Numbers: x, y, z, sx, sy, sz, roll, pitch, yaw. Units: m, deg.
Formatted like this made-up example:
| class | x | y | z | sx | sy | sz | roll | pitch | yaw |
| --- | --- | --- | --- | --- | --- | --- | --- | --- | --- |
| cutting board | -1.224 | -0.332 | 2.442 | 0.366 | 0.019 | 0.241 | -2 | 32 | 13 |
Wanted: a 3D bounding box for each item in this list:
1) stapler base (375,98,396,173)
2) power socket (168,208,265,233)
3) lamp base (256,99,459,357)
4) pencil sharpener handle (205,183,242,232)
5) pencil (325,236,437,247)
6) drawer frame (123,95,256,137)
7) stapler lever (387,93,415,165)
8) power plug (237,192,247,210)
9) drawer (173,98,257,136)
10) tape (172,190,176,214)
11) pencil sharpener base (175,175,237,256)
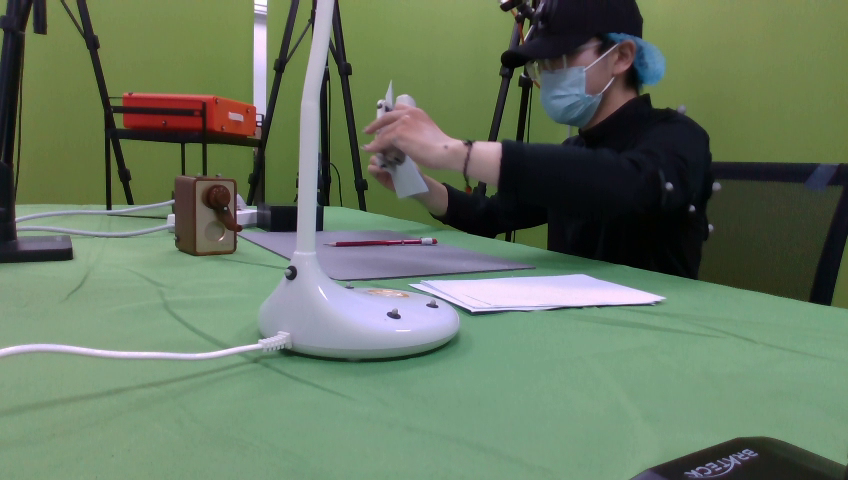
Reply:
| class | x | y | z | sx | sy | sz | roll | pitch | yaw |
| --- | --- | --- | --- | --- | --- | --- | --- | --- | --- |
| stapler base | -0.055 | -0.173 | 0.967 | 0.024 | 0.130 | 0.041 | -20 | -32 | 38 |
| power socket | -0.381 | -0.038 | 1.129 | 0.072 | 0.032 | 0.227 | 4 | 8 | 17 |
| lamp base | -0.055 | -0.013 | 0.463 | 0.160 | 0.180 | 0.180 | 6 | 11 | 27 |
| pencil sharpener handle | -0.265 | -0.043 | 0.812 | 0.036 | 0.068 | 0.030 | -32 | 28 | -35 |
| pencil | -0.066 | 0.003 | 0.979 | 0.195 | 0.012 | 0.012 | -3 | 9 | -25 |
| drawer frame | -0.524 | -0.281 | 1.376 | 0.213 | 0.082 | 0.202 | 3 | 8 | 8 |
| stapler lever | -0.035 | -0.178 | 0.952 | 0.040 | 0.118 | 0.027 | -20 | -32 | 38 |
| power plug | -0.386 | -0.071 | 1.204 | 0.072 | 0.052 | 0.035 | 7 | 8 | 26 |
| drawer | -0.518 | -0.279 | 1.376 | 0.211 | 0.073 | 0.195 | 3 | 8 | 10 |
| tape | -0.515 | -0.087 | 1.388 | 0.117 | 0.052 | 0.117 | 3 | 7 | 0 |
| pencil sharpener base | -0.304 | -0.036 | 0.847 | 0.062 | 0.107 | 0.076 | -4 | 10 | -42 |
